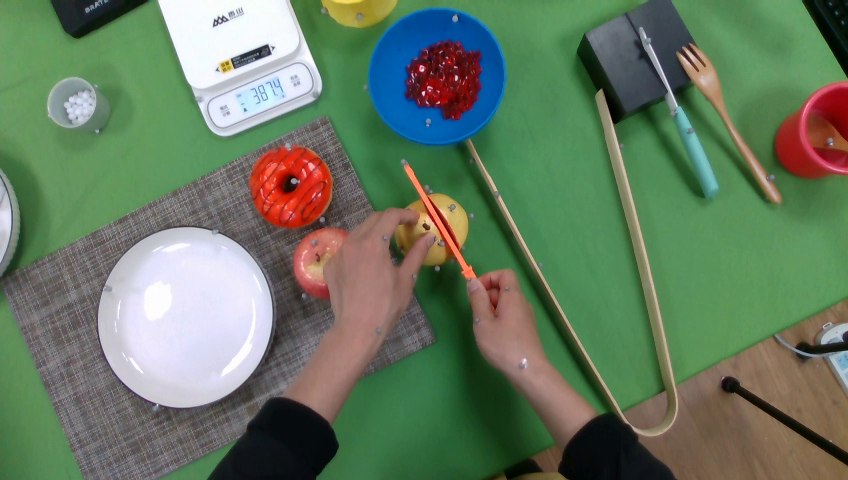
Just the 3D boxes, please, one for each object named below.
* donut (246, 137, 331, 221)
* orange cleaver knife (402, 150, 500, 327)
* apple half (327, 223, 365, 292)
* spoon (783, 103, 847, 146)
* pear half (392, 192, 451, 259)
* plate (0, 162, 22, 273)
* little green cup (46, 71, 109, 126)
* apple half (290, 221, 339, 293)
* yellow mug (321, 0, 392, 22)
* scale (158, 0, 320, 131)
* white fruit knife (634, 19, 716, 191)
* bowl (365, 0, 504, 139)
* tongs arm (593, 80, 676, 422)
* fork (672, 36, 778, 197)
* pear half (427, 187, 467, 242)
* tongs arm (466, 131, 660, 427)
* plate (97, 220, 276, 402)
[{"bbox_3d":[-0.157,-0.071,0.703,0.099,0.048,0.099,0,88,5],"label":"donut"},{"bbox_3d":[0.028,-0.004,0.657,0.012,0.077,0.212,-29,96,8],"label":"orange cleaver knife"},{"bbox_3d":[-0.082,0.021,0.677,0.033,0.081,0.081,7,87,8],"label":"apple half"},{"bbox_3d":[0.449,-0.091,0.618,0.041,0.022,0.191,-32,41,1],"label":"spoon"},{"bbox_3d":[-0.007,-0.011,0.661,0.056,0.110,0.076,-37,82,1],"label":"pear half"},{"bbox_3d":[-0.585,-0.024,0.735,0.207,0.039,0.207,0,87,4],"label":"plate"},{"bbox_3d":[-0.416,-0.168,0.732,0.061,0.039,0.061,0,86,4],"label":"little green cup"},{"bbox_3d":[-0.121,0.018,0.681,0.053,0.075,0.081,7,90,8],"label":"apple half"},{"bbox_3d":[-0.098,-0.324,0.706,0.130,0.064,0.100,31,89,6],"label":"yellow mug"},{"bbox_3d":[-0.224,-0.246,0.727,0.148,0.031,0.200,-22,86,3],"label":"scale"},{"bbox_3d":[0.275,-0.146,0.665,0.016,0.027,0.208,-29,100,1],"label":"white fruit knife"},{"bbox_3d":[0.013,-0.181,0.685,0.151,0.077,0.151,0,87,4],"label":"bowl"},{"bbox_3d":[0.234,0.008,0.683,0.028,0.028,0.386,-11,87,-3],"label":"tongs arm"},{"bbox_3d":[0.336,-0.133,0.668,0.028,0.018,0.208,-36,101,-1],"label":"fork"},{"bbox_3d":[0.029,-0.034,0.672,0.031,0.088,0.070,-38,83,-8],"label":"pear half"},{"bbox_3d":[0.154,0.039,0.685,0.051,0.026,0.384,-26,86,-1],"label":"tongs arm"},{"bbox_3d":[-0.271,0.081,0.705,0.209,0.038,0.208,0,87,4],"label":"plate"}]
